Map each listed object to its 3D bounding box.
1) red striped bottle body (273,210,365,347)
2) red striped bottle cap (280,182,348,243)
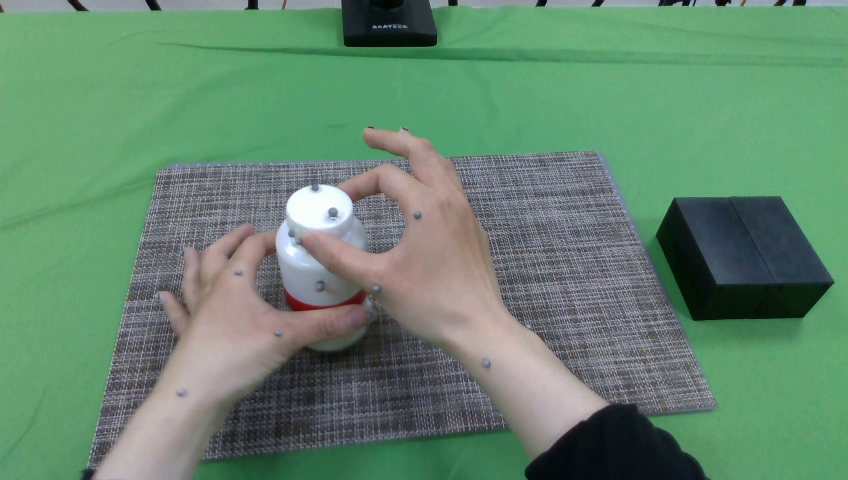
[{"bbox_3d":[-0.074,0.020,0.441,0.063,0.120,0.062,3,46,-2],"label":"red striped bottle body"},{"bbox_3d":[-0.072,-0.019,0.399,0.045,0.018,0.044,9,42,-8],"label":"red striped bottle cap"}]
